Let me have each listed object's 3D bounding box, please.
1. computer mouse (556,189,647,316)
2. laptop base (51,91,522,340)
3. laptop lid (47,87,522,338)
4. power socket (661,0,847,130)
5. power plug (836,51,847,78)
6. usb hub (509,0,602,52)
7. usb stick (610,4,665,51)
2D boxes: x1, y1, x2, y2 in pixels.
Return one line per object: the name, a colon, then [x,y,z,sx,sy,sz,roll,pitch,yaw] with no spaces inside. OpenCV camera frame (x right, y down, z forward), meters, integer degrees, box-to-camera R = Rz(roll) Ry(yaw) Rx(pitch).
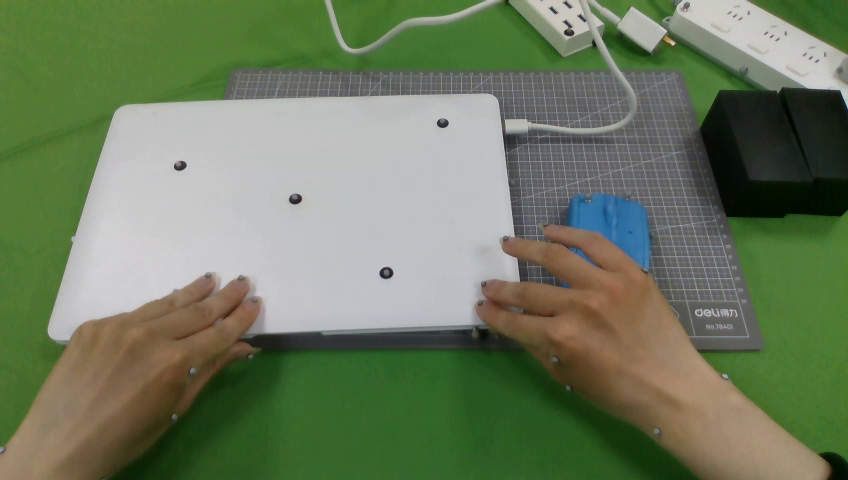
computer mouse: [0.140,0.004,0.472,0.062,0.041,0.116,10,54,9]
laptop base: [-0.105,-0.030,0.511,0.354,0.023,0.233,-2,61,0]
laptop lid: [-0.105,-0.035,0.498,0.357,0.013,0.239,-1,60,1]
power socket: [0.344,-0.187,0.597,0.072,0.033,0.225,-37,64,-21]
power plug: [0.415,-0.170,0.558,0.072,0.053,0.035,-29,61,-14]
usb hub: [0.130,-0.251,0.643,0.049,0.025,0.124,-26,61,-15]
usb stick: [0.222,-0.214,0.616,0.059,0.021,0.027,31,107,0]
